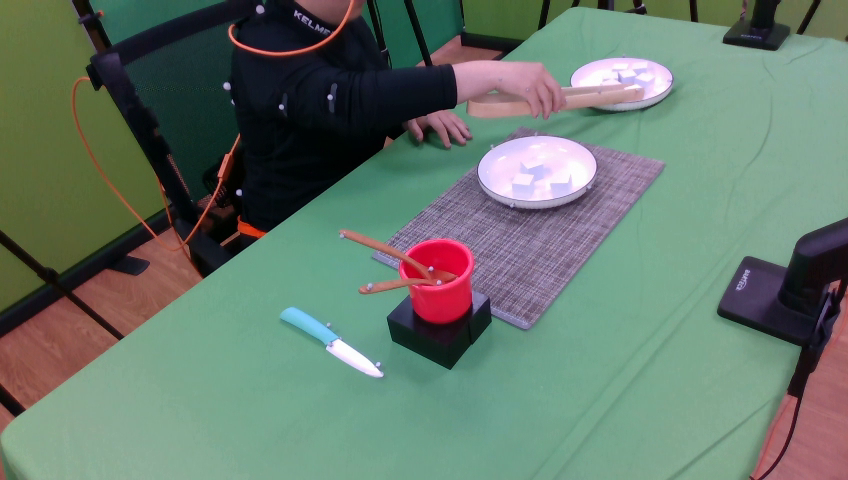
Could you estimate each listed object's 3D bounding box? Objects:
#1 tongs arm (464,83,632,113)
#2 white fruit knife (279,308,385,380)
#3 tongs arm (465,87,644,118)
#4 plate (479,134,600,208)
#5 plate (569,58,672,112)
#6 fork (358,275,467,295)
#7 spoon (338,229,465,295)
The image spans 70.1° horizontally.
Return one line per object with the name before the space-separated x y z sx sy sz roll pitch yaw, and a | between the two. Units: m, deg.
tongs arm | 0.246 -0.276 1.163 0.390 0.028 0.028 -10 37 -22
white fruit knife | -0.130 0.143 0.845 0.205 0.016 0.027 25 79 32
tongs arm | 0.256 -0.264 1.143 0.387 0.026 0.050 -13 34 -25
plate | 0.202 -0.117 1.065 0.207 0.039 0.206 -5 40 5
plate | 0.411 -0.323 1.274 0.209 0.038 0.208 -5 41 5
fork | -0.009 0.056 0.739 0.028 0.018 0.209 48 23 26
spoon | -0.025 0.026 0.776 0.021 0.195 0.041 -41 34 32
